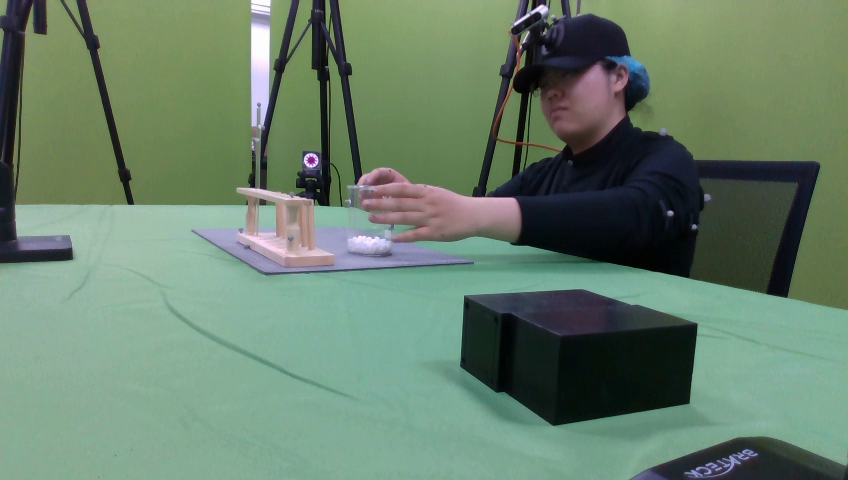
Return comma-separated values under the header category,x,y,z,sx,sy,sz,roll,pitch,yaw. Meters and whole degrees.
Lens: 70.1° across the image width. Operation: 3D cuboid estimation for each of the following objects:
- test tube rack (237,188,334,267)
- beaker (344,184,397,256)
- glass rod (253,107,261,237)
category,x,y,z,sx,sy,sz,roll,pitch,yaw
test tube rack,-0.202,-0.024,0.855,0.067,0.085,0.241,-2,8,-30
beaker,-0.077,-0.030,0.886,0.083,0.100,0.074,9,10,39
glass rod,-0.251,-0.101,0.912,0.008,0.199,0.008,3,3,0
